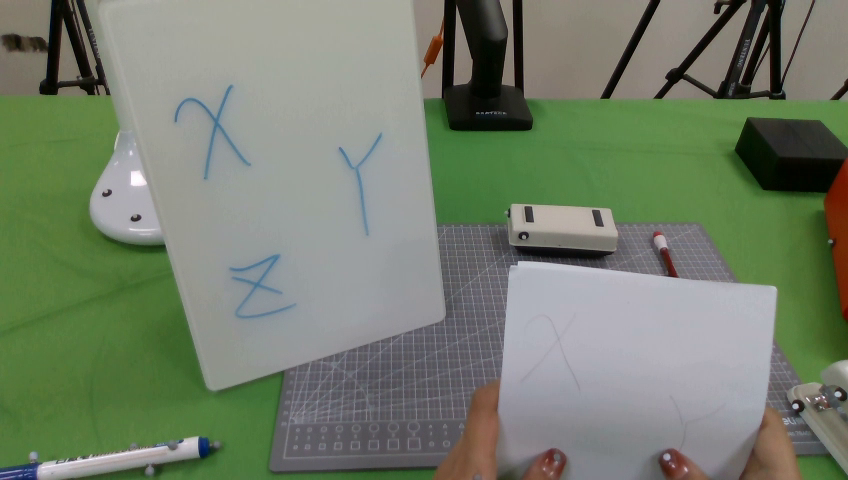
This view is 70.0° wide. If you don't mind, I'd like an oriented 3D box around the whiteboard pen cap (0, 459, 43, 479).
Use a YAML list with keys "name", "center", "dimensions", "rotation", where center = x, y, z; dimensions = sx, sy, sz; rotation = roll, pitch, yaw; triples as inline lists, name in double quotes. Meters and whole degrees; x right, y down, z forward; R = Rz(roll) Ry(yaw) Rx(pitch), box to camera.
- name: "whiteboard pen cap"
  center: [-0.289, 0.167, 0.430]
  dimensions: [0.033, 0.018, 0.018]
  rotation: [-7, 40, -11]

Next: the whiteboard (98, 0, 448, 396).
- name: "whiteboard"
  center: [-0.118, -0.059, 0.534]
  dimensions: [0.218, 0.307, 0.142]
  rotation: [-14, 23, -18]

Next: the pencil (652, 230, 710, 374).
- name: "pencil"
  center: [0.255, 0.054, 0.606]
  dimensions: [0.012, 0.012, 0.192]
  rotation: [3, 41, 1]

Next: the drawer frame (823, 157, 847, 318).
- name: "drawer frame"
  center: [0.536, 0.014, 0.617]
  dimensions: [0.201, 0.083, 0.212]
  rotation: [15, 40, 15]

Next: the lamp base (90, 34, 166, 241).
- name: "lamp base"
  center: [-0.297, -0.115, 0.643]
  dimensions: [0.177, 0.182, 0.160]
  rotation: [26, 45, 29]

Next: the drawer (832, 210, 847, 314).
- name: "drawer"
  center: [0.512, 0.055, 0.568]
  dimensions: [0.194, 0.074, 0.210]
  rotation: [15, 40, 15]

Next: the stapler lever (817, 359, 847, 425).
- name: "stapler lever"
  center: [0.344, 0.142, 0.454]
  dimensions: [0.027, 0.040, 0.116]
  rotation: [-8, 44, -12]

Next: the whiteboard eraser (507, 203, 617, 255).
- name: "whiteboard eraser"
  center: [0.147, -0.011, 0.651]
  dimensions: [0.113, 0.042, 0.055]
  rotation: [4, 40, 1]

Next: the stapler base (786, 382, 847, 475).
- name: "stapler base"
  center: [0.341, 0.161, 0.472]
  dimensions: [0.041, 0.024, 0.129]
  rotation: [-8, 43, -12]

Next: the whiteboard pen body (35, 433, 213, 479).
- name: "whiteboard pen body"
  center: [-0.229, 0.161, 0.444]
  dimensions: [0.141, 0.017, 0.017]
  rotation: [-7, 40, -11]
